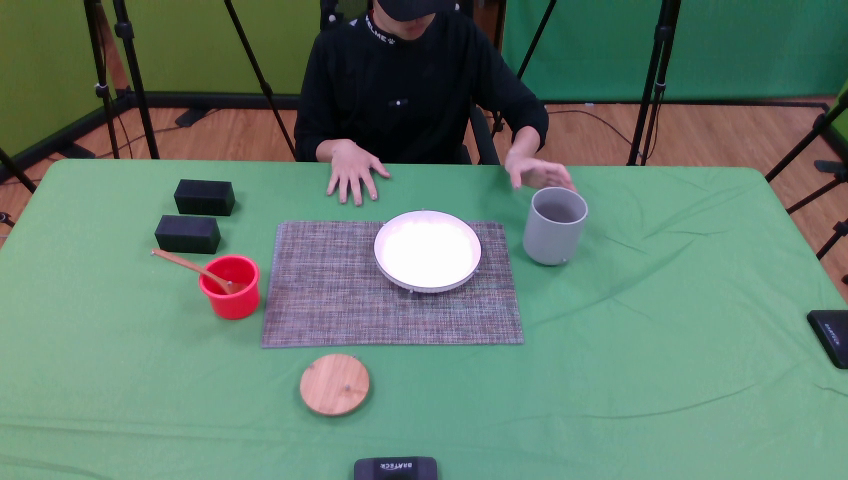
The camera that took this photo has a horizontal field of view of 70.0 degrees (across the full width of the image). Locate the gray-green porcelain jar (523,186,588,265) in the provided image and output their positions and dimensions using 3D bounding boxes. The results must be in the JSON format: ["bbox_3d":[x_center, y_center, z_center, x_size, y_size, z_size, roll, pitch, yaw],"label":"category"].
[{"bbox_3d":[0.249,-0.023,1.164,0.106,0.127,0.105,2,46,-2],"label":"gray-green porcelain jar"}]

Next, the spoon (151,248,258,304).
[{"bbox_3d":[-0.369,0.059,1.028,0.195,0.021,0.041,36,35,-32],"label":"spoon"}]

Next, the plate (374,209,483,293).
[{"bbox_3d":[0.008,0.024,1.158,0.208,0.039,0.206,2,46,-2],"label":"plate"}]

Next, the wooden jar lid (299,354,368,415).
[{"bbox_3d":[-0.143,0.232,0.964,0.108,0.021,0.107,2,45,-2],"label":"wooden jar lid"}]
